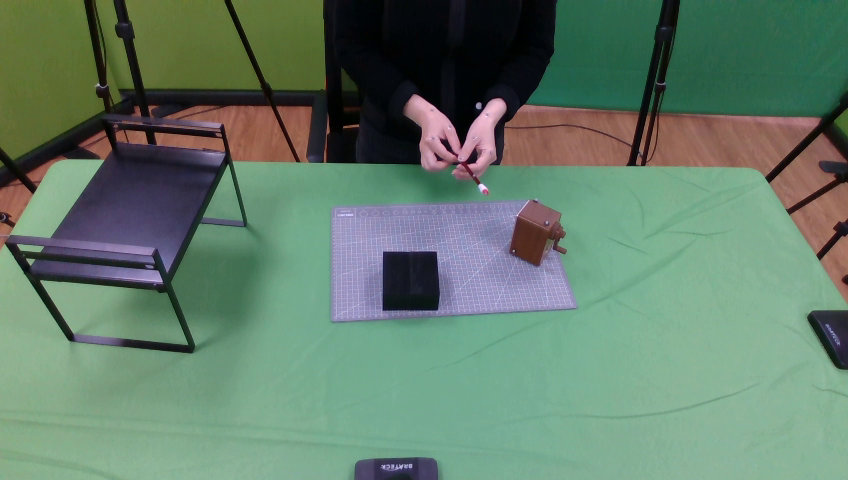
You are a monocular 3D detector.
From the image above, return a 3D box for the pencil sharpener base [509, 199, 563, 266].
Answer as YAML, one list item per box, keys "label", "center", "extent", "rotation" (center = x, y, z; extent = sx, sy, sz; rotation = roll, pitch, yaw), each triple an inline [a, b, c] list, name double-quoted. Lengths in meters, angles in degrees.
- label: "pencil sharpener base"
  center: [0.216, -0.012, 1.160]
  extent: [0.076, 0.107, 0.061]
  rotation: [27, 50, 20]

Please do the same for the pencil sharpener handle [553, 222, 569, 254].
- label: "pencil sharpener handle"
  center: [0.260, -0.001, 1.135]
  extent: [0.030, 0.068, 0.036]
  rotation: [27, 58, 20]

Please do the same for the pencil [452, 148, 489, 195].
- label: "pencil"
  center: [0.082, -0.131, 1.119]
  extent: [0.012, 0.012, 0.192]
  rotation: [-10, 35, -13]
